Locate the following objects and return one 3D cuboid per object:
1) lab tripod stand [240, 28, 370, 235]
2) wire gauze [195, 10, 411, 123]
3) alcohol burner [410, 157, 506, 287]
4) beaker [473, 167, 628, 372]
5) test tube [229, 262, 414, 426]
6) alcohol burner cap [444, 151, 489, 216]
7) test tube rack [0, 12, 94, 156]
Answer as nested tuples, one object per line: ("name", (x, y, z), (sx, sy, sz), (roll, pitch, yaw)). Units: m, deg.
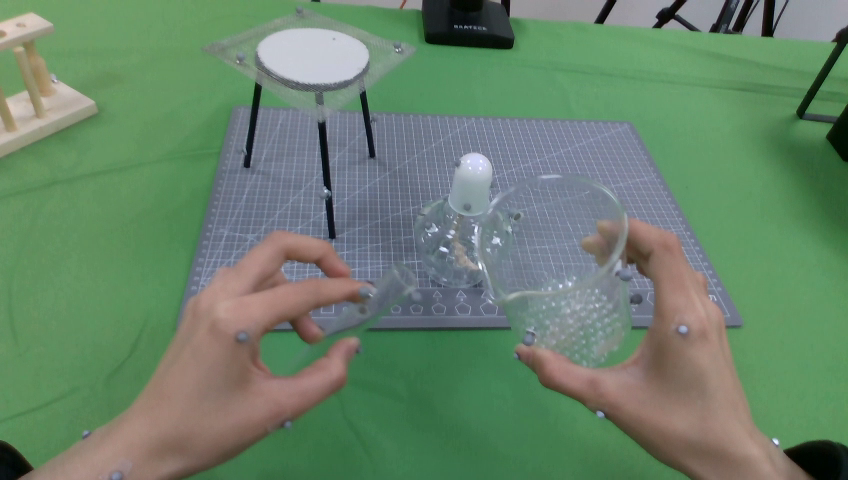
("lab tripod stand", (-0.096, -0.099, 0.524), (0.148, 0.132, 0.147), (6, 45, -5))
("wire gauze", (-0.091, -0.146, 0.476), (0.124, 0.011, 0.121), (30, 49, 19))
("alcohol burner", (0.029, -0.019, 0.477), (0.078, 0.120, 0.077), (6, 44, -5))
("beaker", (0.072, 0.024, 0.331), (0.073, 0.101, 0.084), (30, 70, 36))
("test tube", (-0.061, 0.062, 0.335), (0.017, 0.150, 0.017), (39, 25, -21))
("alcohol burner cap", (0.033, -0.044, 0.451), (0.034, 0.048, 0.033), (3, 49, -3))
("test tube rack", (-0.426, -0.109, 0.522), (0.066, 0.086, 0.242), (29, 48, 19))
